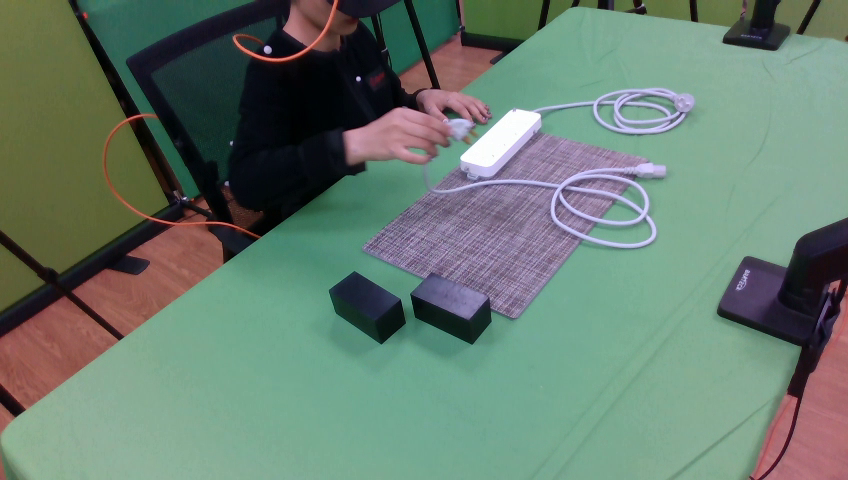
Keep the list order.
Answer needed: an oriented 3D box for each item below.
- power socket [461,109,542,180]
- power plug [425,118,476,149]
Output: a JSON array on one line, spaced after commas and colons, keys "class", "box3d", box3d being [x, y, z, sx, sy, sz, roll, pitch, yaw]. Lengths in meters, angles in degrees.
[{"class": "power socket", "box3d": [0.151, -0.188, 1.163, 0.071, 0.033, 0.227, 21, 48, 30]}, {"class": "power plug", "box3d": [0.043, -0.158, 0.926, 0.053, 0.072, 0.035, 35, 41, -14]}]
